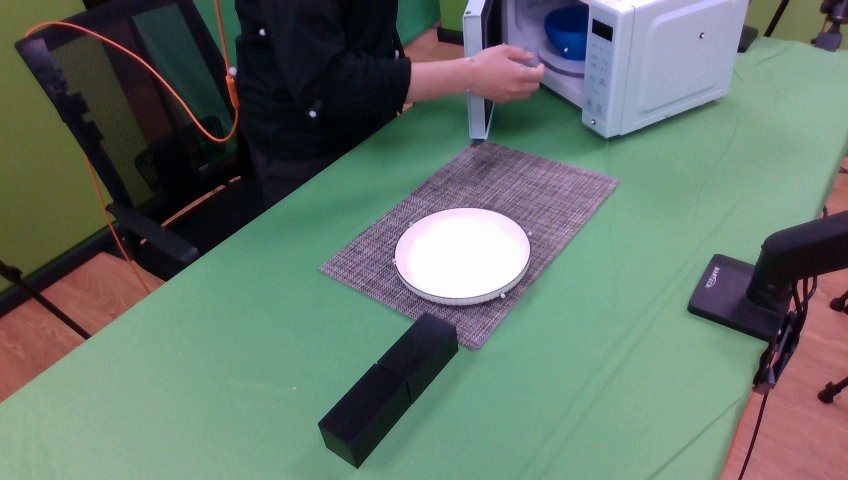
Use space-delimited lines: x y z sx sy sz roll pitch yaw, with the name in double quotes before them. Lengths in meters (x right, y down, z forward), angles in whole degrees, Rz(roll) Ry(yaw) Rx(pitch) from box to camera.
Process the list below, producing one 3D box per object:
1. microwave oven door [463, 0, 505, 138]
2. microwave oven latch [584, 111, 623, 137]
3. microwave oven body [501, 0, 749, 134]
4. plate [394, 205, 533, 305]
"microwave oven door" 0.127 -0.403 1.226 0.039 0.245 0.355 2 42 12
"microwave oven latch" 0.337 -0.222 1.142 0.030 0.029 0.078 -21 42 -14
"microwave oven body" 0.382 -0.444 1.246 0.327 0.261 0.437 -22 42 -16
"plate" 0.059 0.025 0.915 0.207 0.039 0.206 -4 41 4
